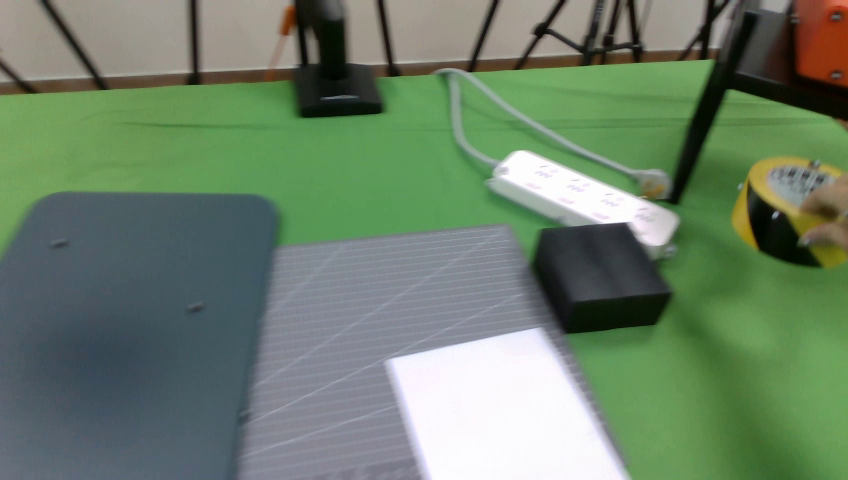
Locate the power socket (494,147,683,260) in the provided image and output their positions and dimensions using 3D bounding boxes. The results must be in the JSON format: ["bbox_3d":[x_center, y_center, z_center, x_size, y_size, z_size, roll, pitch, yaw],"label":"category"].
[{"bbox_3d":[0.192,-0.048,0.712,0.225,0.033,0.072,28,48,22],"label":"power socket"}]

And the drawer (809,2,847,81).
[{"bbox_3d":[0.520,-0.225,0.635,0.193,0.074,0.211,20,45,15],"label":"drawer"}]

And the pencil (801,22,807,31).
[{"bbox_3d":[0.499,-0.208,0.643,0.012,0.012,0.192,-25,41,-27],"label":"pencil"}]

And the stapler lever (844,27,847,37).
[{"bbox_3d":[0.491,-0.205,0.604,0.117,0.040,0.027,33,48,26],"label":"stapler lever"}]

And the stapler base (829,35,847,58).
[{"bbox_3d":[0.491,-0.187,0.621,0.129,0.024,0.041,32,47,27],"label":"stapler base"}]

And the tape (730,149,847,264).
[{"bbox_3d":[0.359,-0.034,0.573,0.117,0.053,0.115,1,42,-1],"label":"tape"}]

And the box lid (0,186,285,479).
[{"bbox_3d":[-0.279,0.072,0.553,0.263,0.015,0.367,1,44,-4],"label":"box lid"}]

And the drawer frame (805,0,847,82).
[{"bbox_3d":[0.521,-0.228,0.637,0.201,0.083,0.212,19,45,14],"label":"drawer frame"}]

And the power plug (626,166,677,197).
[{"bbox_3d":[0.279,-0.070,0.757,0.052,0.035,0.072,-33,20,-37],"label":"power plug"}]
